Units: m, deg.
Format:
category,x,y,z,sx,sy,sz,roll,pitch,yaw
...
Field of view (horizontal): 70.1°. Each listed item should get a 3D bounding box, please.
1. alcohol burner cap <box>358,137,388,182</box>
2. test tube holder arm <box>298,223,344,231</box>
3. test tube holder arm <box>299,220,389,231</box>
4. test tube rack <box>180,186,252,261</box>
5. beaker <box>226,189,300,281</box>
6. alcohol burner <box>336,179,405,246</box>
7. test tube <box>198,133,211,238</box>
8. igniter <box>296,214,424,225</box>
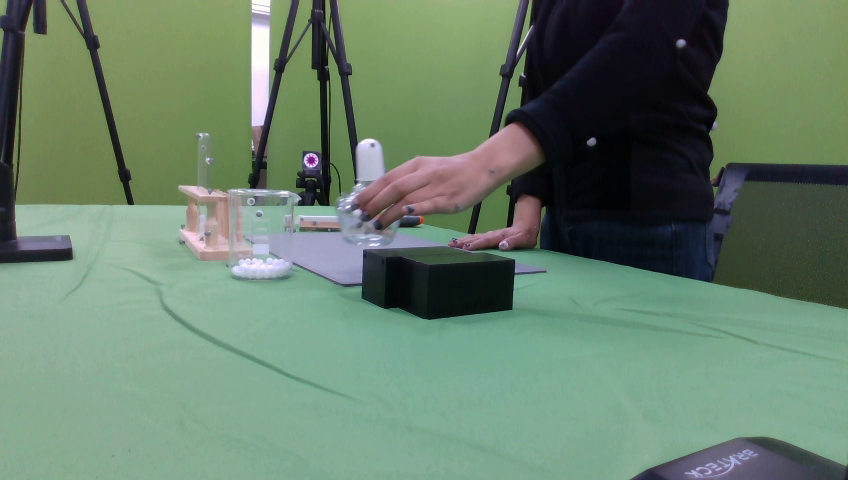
category,x,y,z,sx,sy,sz,roll,pitch,yaw
alcohol burner cap,-0.057,-0.090,0.669,0.034,0.048,0.034,-2,13,1
test tube holder arm,-0.197,-0.026,1.163,0.088,0.015,0.010,1,-27,-20
test tube holder arm,-0.153,-0.028,1.175,0.179,0.015,0.013,1,-27,-21
test tube rack,-0.312,-0.031,0.893,0.067,0.085,0.241,-1,8,-27
beaker,-0.184,-0.007,0.694,0.084,0.100,0.073,-1,8,-29
alcohol burner,-0.060,-0.054,0.674,0.078,0.119,0.078,1,9,0
test tube,-0.316,-0.078,0.871,0.017,0.150,0.017,2,3,0
igniter,-0.129,-0.043,1.273,0.278,0.025,0.057,-1,-2,-26
